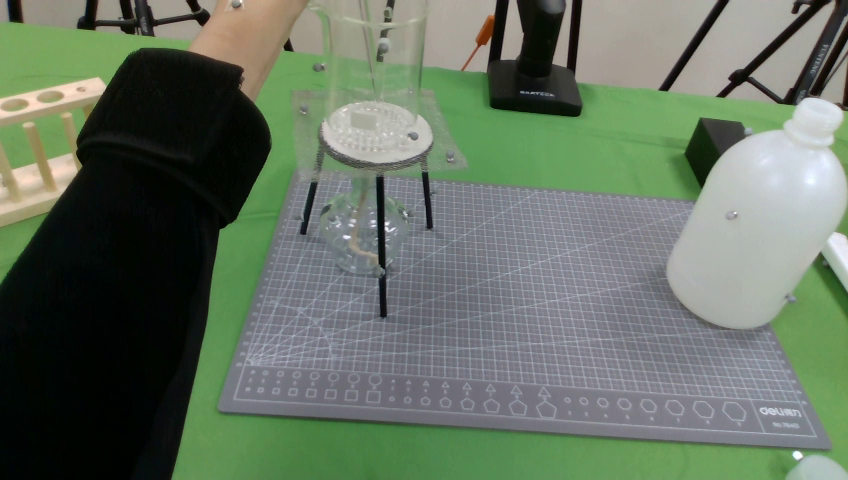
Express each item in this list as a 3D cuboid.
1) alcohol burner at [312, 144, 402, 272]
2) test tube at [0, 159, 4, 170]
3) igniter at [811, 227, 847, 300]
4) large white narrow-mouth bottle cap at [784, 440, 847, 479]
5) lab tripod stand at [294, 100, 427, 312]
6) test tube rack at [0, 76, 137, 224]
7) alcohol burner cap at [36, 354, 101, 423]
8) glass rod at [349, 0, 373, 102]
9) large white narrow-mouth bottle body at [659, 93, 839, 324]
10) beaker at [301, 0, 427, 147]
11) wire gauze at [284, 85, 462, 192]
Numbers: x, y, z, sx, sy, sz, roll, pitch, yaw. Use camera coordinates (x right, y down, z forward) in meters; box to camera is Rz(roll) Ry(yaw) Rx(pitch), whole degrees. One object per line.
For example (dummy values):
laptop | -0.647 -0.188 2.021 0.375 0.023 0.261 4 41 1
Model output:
alcohol burner | -0.056 -0.031 0.516 0.078 0.120 0.077 6 41 -4
test tube | -0.389 -0.117 0.516 0.017 0.151 0.017 5 37 -3
igniter | 0.403 0.083 0.523 0.057 0.025 0.274 13 41 -9
large white narrow-mouth bottle cap | 0.274 0.162 0.423 0.038 0.024 0.037 4 42 -3
lab tripod stand | -0.046 -0.036 0.508 0.148 0.132 0.147 5 43 -5
test tube rack | -0.395 -0.063 0.530 0.242 0.086 0.066 -26 52 -32
alcohol burner cap | -0.240 0.097 0.406 0.034 0.048 0.033 6 41 -5
glass rod | -0.050 -0.180 0.386 0.008 0.201 0.008 -4 40 3
large white narrow-mouth bottle body | 0.272 -0.027 0.497 0.102 0.196 0.101 3 42 -3
beaker | -0.044 -0.125 0.435 0.084 0.101 0.073 0 44 -8
wire gauze | -0.043 -0.086 0.466 0.122 0.011 0.123 -6 47 -12
